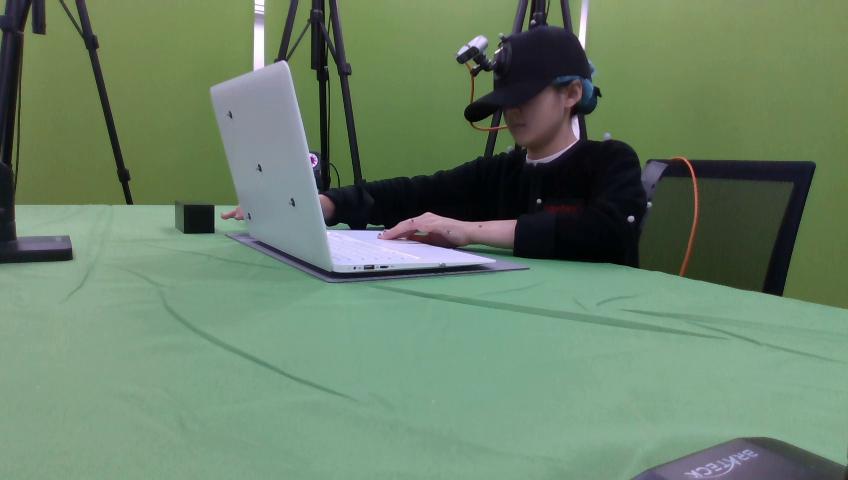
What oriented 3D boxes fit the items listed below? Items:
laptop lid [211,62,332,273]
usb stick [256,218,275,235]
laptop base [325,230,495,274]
[{"bbox_3d":[-0.213,-0.095,0.792,0.013,0.241,0.355,-18,18,-28],"label":"laptop lid"},{"bbox_3d":[-0.263,-0.022,1.008,0.021,0.027,0.059,-3,10,-30],"label":"usb stick"},{"bbox_3d":[-0.092,0.015,0.884,0.237,0.023,0.352,4,6,-32],"label":"laptop base"}]
